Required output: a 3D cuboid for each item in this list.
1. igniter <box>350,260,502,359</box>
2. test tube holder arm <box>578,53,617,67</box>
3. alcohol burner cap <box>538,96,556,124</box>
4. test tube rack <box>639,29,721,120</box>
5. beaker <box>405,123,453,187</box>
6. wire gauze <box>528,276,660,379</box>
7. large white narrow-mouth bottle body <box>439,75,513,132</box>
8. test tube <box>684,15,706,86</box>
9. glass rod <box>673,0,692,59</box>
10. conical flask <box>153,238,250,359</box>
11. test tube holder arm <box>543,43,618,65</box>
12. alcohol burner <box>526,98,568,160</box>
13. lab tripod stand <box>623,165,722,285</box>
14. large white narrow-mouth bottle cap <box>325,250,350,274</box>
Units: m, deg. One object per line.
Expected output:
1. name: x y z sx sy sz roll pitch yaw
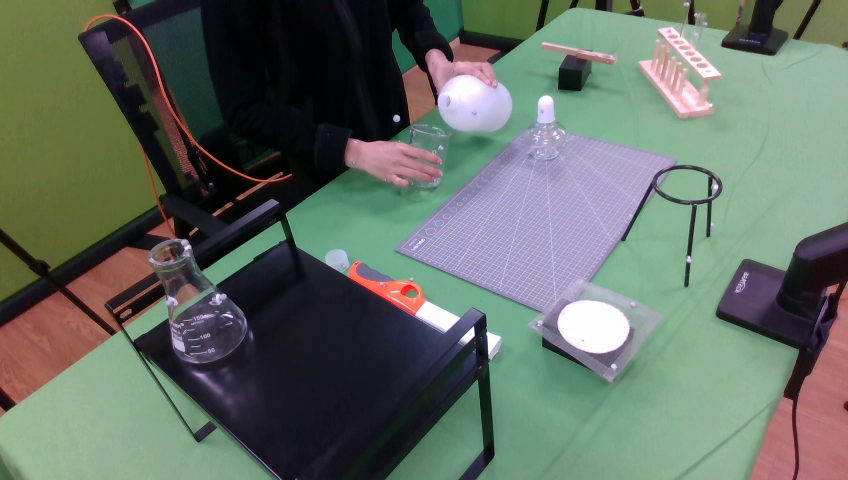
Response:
1. igniter: -0.009 0.094 0.870 0.274 0.025 0.057 25 61 33
2. test tube holder arm: 0.376 -0.393 1.314 0.087 0.015 0.010 26 51 32
3. alcohol burner cap: 0.222 -0.237 1.095 0.034 0.048 0.033 -7 35 5
4. test tube rack: 0.527 -0.351 1.262 0.067 0.085 0.241 -8 40 1
5. beaker: 0.008 -0.152 1.091 0.073 0.100 0.084 26 25 31
6. wire gauze: 0.213 0.103 0.763 0.124 0.011 0.122 30 52 35
7. large white narrow-mouth bottle body: 0.087 -0.254 1.127 0.101 0.102 0.196 18 16 28
8. test tube: 0.541 -0.378 1.216 0.017 0.151 0.017 -2 44 3
9. glass rod: 0.537 -0.437 1.257 0.008 0.200 0.008 0 39 1
10. conical flask: -0.225 0.055 0.597 0.075 0.122 0.075 -5 41 4
11. test tube holder arm: 0.344 -0.413 1.340 0.177 0.015 0.013 25 51 31
12. alcohol burner: 0.228 -0.210 1.118 0.078 0.119 0.077 -5 43 5
13. lab tripod stand: 0.365 -0.030 0.874 0.148 0.132 0.147 -6 41 6
14. large white narrow-mouth bottle cap: -0.138 0.035 0.966 0.038 0.024 0.037 -4 41 4
